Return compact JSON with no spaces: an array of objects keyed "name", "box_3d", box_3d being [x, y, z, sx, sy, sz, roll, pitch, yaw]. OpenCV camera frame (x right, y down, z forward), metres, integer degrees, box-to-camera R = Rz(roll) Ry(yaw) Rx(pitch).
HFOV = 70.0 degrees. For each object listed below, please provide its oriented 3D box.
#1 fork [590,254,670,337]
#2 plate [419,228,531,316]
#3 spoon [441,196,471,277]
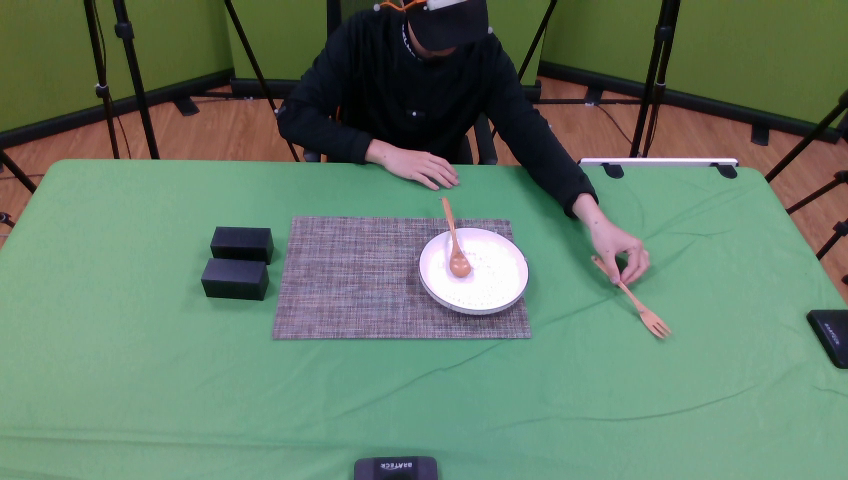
[{"name":"fork","box_3d":[0.376,0.099,1.123,0.028,0.019,0.206,-31,60,-7]},{"name":"plate","box_3d":[0.093,0.062,1.130,0.208,0.039,0.206,2,46,-2]},{"name":"spoon","box_3d":[0.056,-0.010,1.176,0.041,0.022,0.192,-7,60,-6]}]
